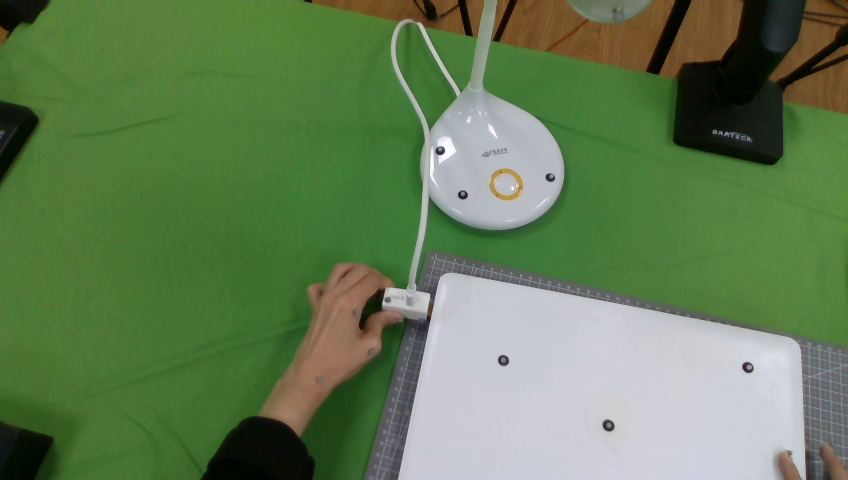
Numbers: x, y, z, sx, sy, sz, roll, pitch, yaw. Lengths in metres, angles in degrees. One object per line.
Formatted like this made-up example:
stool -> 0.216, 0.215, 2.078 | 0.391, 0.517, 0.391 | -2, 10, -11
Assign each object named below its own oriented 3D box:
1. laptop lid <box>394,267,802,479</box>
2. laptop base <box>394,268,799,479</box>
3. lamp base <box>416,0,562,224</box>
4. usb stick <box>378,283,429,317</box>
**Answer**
laptop lid -> 0.162, 0.162, 0.546 | 0.356, 0.013, 0.240 | 12, 69, 4
laptop base -> 0.163, 0.165, 0.558 | 0.354, 0.023, 0.234 | 10, 69, 3
lamp base -> 0.067, -0.133, 0.603 | 0.161, 0.181, 0.177 | -23, 65, -12
usb stick -> -0.014, 0.059, 0.586 | 0.059, 0.027, 0.021 | 10, 58, -2
